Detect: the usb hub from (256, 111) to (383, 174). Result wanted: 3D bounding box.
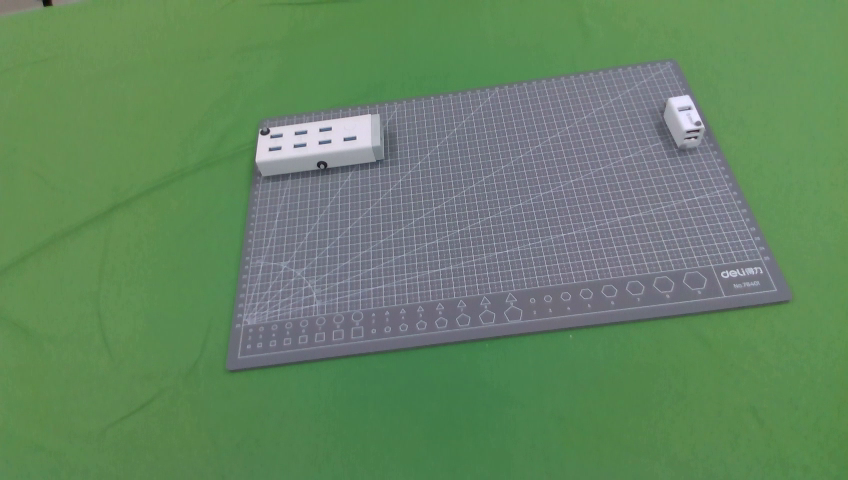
[{"bbox_3d":[-0.105,-0.099,0.612,0.125,0.025,0.049,-7,54,3],"label":"usb hub"}]

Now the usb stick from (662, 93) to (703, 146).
[{"bbox_3d":[0.242,-0.119,0.574,0.021,0.027,0.058,-10,51,4],"label":"usb stick"}]
